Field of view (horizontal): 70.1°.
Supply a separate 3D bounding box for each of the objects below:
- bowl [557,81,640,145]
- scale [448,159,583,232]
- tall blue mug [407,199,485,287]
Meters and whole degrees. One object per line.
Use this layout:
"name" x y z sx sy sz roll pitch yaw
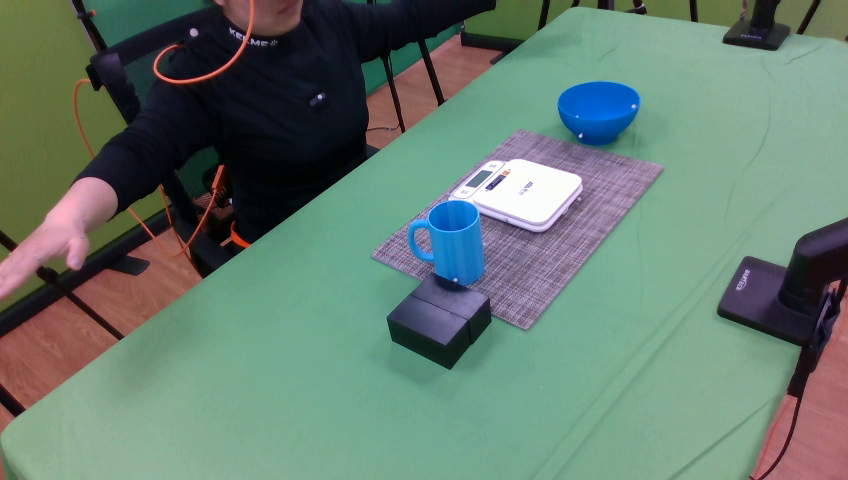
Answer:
"bowl" 0.330 -0.233 1.152 0.151 0.077 0.150 -5 40 5
"scale" 0.156 -0.085 1.039 0.199 0.032 0.149 22 49 32
"tall blue mug" 0.034 0.008 0.892 0.107 0.108 0.077 -13 41 -5
